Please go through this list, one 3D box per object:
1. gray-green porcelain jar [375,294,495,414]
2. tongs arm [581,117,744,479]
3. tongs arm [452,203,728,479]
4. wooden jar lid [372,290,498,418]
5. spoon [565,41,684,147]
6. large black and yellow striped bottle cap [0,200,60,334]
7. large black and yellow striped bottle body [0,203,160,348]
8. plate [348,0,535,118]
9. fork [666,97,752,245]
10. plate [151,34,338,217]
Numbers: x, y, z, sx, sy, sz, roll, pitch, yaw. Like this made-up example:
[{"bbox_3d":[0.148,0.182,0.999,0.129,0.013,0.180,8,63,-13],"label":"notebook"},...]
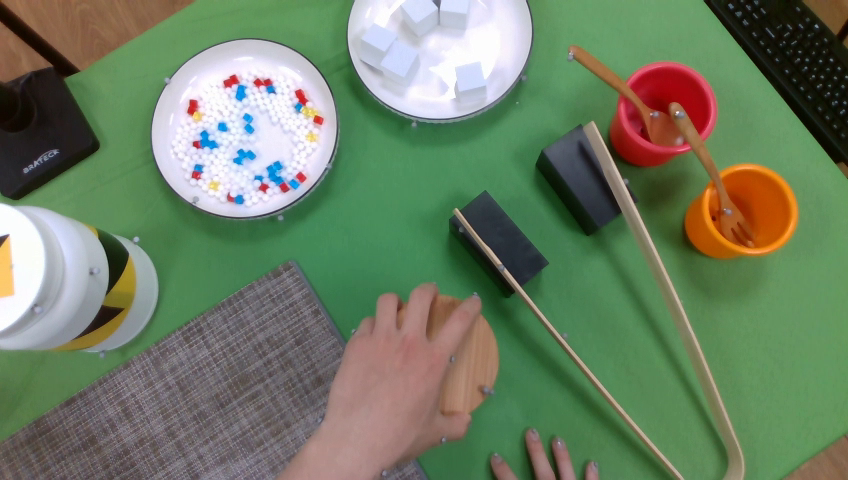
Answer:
[{"bbox_3d":[0.013,0.109,0.587,0.106,0.127,0.105,0,80,2],"label":"gray-green porcelain jar"},{"bbox_3d":[0.236,0.057,0.604,0.028,0.028,0.387,-24,90,-9],"label":"tongs arm"},{"bbox_3d":[0.165,0.103,0.598,0.051,0.026,0.385,-38,91,-6],"label":"tongs arm"},{"bbox_3d":[0.010,0.098,0.525,0.108,0.021,0.108,0,84,4],"label":"wooden jar lid"},{"bbox_3d":[0.206,-0.148,0.610,0.195,0.021,0.041,26,77,-37],"label":"spoon"},{"bbox_3d":[-0.363,0.022,0.502,0.115,0.019,0.114,0,82,1],"label":"large black and yellow striped bottle cap"},{"bbox_3d":[-0.359,0.039,0.585,0.131,0.184,0.130,0,80,3],"label":"large black and yellow striped bottle body"},{"bbox_3d":[0.019,-0.234,0.687,0.207,0.039,0.207,0,81,3],"label":"plate"},{"bbox_3d":[0.280,-0.063,0.592,0.028,0.018,0.209,-43,125,4],"label":"fork"},{"bbox_3d":[-0.197,-0.126,0.678,0.209,0.038,0.208,0,81,3],"label":"plate"}]
